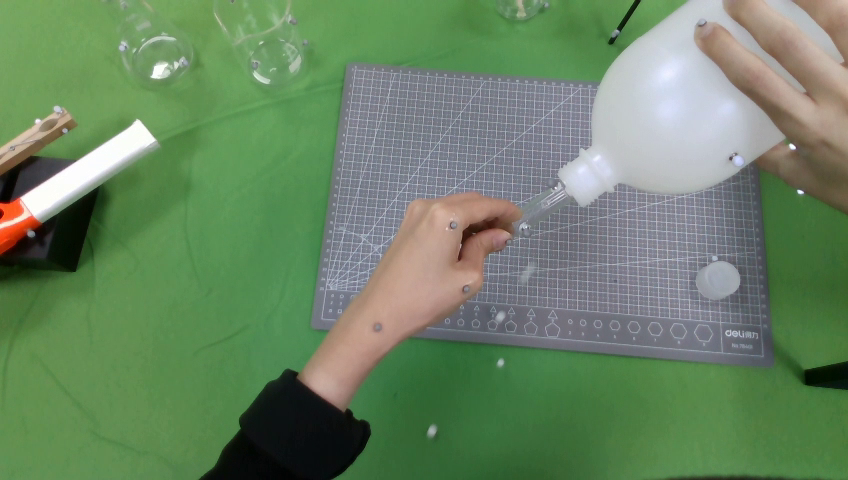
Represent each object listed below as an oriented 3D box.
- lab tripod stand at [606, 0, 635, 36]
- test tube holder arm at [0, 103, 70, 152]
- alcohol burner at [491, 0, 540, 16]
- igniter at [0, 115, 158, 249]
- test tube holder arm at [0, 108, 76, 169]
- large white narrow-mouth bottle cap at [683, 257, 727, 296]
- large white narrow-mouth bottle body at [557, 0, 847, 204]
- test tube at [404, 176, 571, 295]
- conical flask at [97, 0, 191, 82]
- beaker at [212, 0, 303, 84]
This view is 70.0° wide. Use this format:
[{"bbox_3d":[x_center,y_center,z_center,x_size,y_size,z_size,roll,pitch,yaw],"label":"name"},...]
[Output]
[{"bbox_3d":[0.274,-0.284,0.639,0.148,0.132,0.147,1,72,-2],"label":"lab tripod stand"},{"bbox_3d":[-0.415,-0.072,0.572,0.178,0.015,0.013,-39,77,-12],"label":"test tube holder arm"},{"bbox_3d":[0.105,-0.301,0.652,0.078,0.120,0.077,1,71,-2],"label":"alcohol burner"},{"bbox_3d":[-0.374,-0.026,0.556,0.276,0.025,0.057,-39,79,-15],"label":"igniter"},{"bbox_3d":[-0.377,-0.095,0.580,0.088,0.015,0.010,-38,77,-12],"label":"test tube holder arm"},{"bbox_3d":[0.278,0.036,0.599,0.038,0.024,0.037,0,74,0],"label":"large white narrow-mouth bottle cap"},{"bbox_3d":[0.167,-0.091,0.366,0.195,0.102,0.101,-38,75,13],"label":"large white narrow-mouth bottle body"},{"bbox_3d":[0.041,0.001,0.433,0.150,0.017,0.017,-35,72,29],"label":"test tube"},{"bbox_3d":[-0.294,-0.223,0.616,0.075,0.122,0.075,0,72,0],"label":"conical flask"},{"bbox_3d":[-0.169,-0.214,0.628,0.074,0.101,0.083,19,74,6],"label":"beaker"}]
